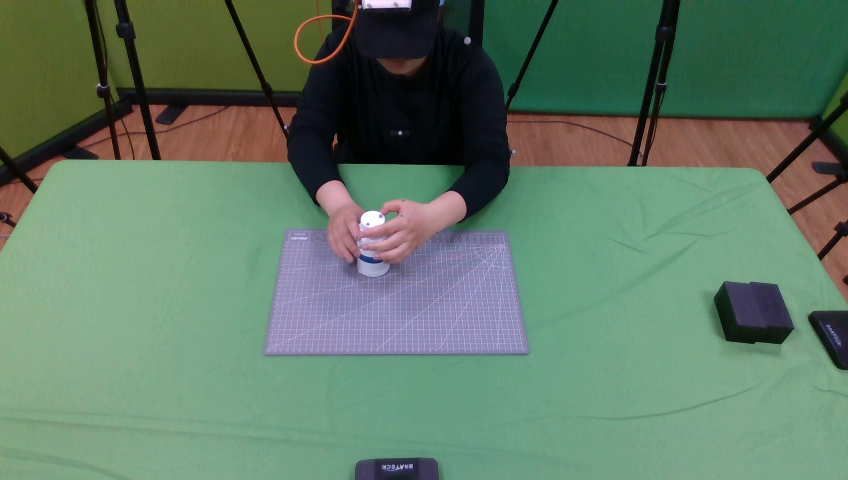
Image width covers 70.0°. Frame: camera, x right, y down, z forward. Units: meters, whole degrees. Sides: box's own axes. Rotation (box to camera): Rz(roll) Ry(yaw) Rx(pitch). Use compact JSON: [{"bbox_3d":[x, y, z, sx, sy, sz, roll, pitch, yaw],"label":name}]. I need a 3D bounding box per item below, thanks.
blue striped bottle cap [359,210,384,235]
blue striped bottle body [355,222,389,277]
[{"bbox_3d":[-0.093,-0.032,1.073,0.044,0.021,0.044,4,47,-4],"label":"blue striped bottle cap"},{"bbox_3d":[-0.095,0.007,1.112,0.063,0.121,0.062,2,46,-2],"label":"blue striped bottle body"}]
